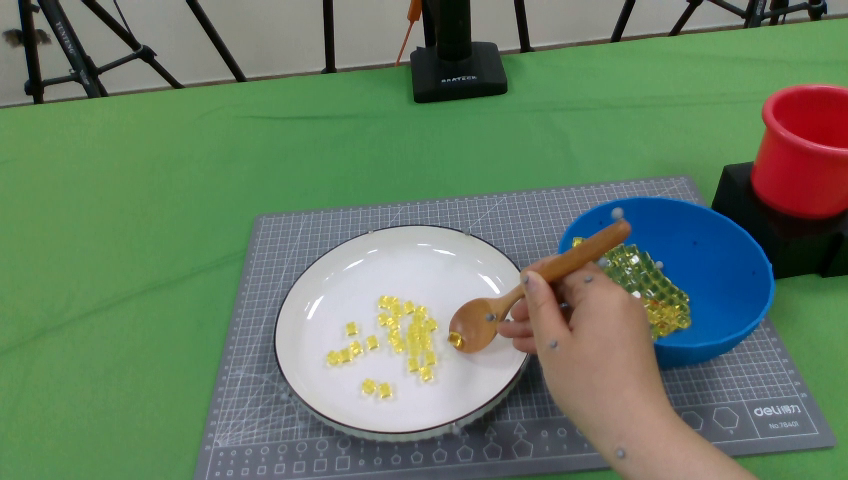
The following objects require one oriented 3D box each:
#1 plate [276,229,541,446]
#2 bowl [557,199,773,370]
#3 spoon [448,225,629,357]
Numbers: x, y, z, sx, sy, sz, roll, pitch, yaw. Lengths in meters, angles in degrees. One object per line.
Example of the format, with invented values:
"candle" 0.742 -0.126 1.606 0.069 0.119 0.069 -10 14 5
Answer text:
"plate" -0.012 0.074 0.490 0.207 0.039 0.205 -3 44 4
"bowl" 0.175 0.046 0.467 0.151 0.077 0.150 -3 44 3
"spoon" 0.068 0.038 0.410 0.022 0.194 0.041 4 63 -24
